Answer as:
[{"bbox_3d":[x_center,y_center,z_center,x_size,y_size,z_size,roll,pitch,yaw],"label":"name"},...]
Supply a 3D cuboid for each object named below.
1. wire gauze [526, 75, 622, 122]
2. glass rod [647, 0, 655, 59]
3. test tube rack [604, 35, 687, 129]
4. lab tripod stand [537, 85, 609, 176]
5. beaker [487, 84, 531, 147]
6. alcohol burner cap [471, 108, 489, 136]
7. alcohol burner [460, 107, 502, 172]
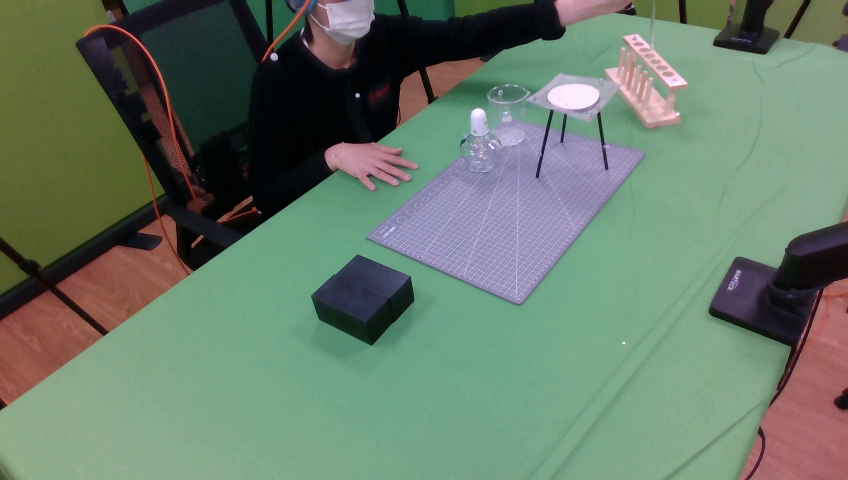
[{"bbox_3d":[0.255,-0.248,1.030,0.124,0.011,0.122,24,51,32],"label":"wire gauze"},{"bbox_3d":[0.444,-0.445,1.175,0.008,0.200,0.008,-7,37,6],"label":"glass rod"},{"bbox_3d":[0.447,-0.330,1.241,0.067,0.085,0.241,-9,41,-2],"label":"test tube rack"},{"bbox_3d":[0.259,-0.192,1.068,0.148,0.132,0.147,-4,43,4],"label":"lab tripod stand"},{"bbox_3d":[0.164,-0.237,1.161,0.084,0.101,0.073,-9,41,-3],"label":"beaker"},{"bbox_3d":[0.098,-0.211,1.074,0.034,0.048,0.033,-6,42,6],"label":"alcohol burner cap"},{"bbox_3d":[0.102,-0.185,1.098,0.078,0.119,0.077,-6,40,5],"label":"alcohol burner"}]
